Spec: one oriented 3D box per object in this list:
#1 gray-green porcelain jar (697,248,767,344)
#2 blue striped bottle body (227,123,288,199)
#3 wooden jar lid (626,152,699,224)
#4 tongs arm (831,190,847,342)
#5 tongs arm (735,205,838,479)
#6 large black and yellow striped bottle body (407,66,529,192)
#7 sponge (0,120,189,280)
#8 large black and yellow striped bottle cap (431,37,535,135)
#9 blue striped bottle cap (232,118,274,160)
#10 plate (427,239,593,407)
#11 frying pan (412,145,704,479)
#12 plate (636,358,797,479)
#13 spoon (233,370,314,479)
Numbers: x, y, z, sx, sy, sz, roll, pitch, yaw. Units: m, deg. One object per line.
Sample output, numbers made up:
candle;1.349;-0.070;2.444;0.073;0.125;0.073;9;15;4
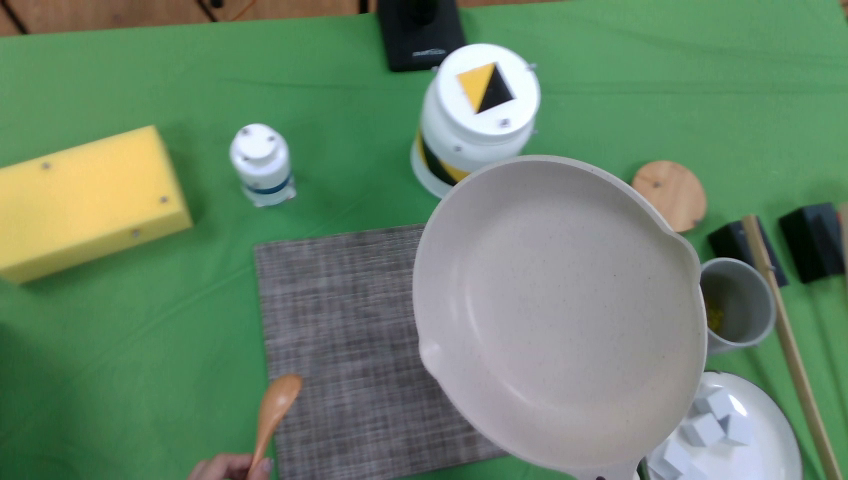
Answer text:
gray-green porcelain jar;0.338;0.078;0.756;0.106;0.127;0.105;3;72;-8
blue striped bottle body;-0.198;-0.099;0.724;0.063;0.121;0.062;3;73;-8
wooden jar lid;0.334;-0.072;0.857;0.108;0.021;0.108;2;74;-8
tongs arm;0.561;0.125;0.797;0.028;0.027;0.386;2;83;-16
tongs arm;0.478;0.136;0.779;0.051;0.026;0.384;-13;86;-15
large black and yellow striped bottle body;0.053;-0.145;0.747;0.131;0.184;0.130;3;72;-8
sponge;-0.400;-0.048;0.708;0.207;0.061;0.117;-22;78;-15
large black and yellow striped bottle cap;0.065;-0.170;0.665;0.115;0.019;0.114;3;72;-7
blue striped bottle cap;-0.191;-0.113;0.676;0.044;0.021;0.044;2;71;-6
plate;0.105;0.101;0.754;0.209;0.038;0.208;2;73;-8
frying pan;0.149;0.153;0.552;0.103;0.306;0.485;-4;73;-46
plate;0.356;0.253;0.754;0.208;0.039;0.206;3;73;-8
spoon;-0.165;0.215;0.597;0.022;0.041;0.193;42;73;-23
